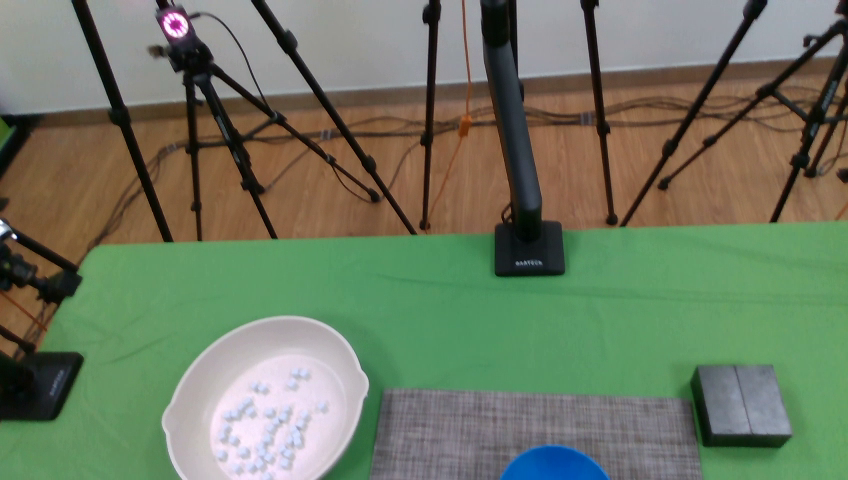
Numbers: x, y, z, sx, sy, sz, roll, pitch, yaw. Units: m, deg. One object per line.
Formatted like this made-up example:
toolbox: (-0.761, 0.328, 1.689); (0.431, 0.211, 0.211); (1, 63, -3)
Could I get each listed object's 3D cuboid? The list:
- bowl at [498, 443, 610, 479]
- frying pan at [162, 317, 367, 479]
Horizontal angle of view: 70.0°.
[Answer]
bowl: (0.165, 0.344, 0.764); (0.151, 0.077, 0.150); (-5, 52, 6)
frying pan: (-0.221, 0.325, 0.833); (0.307, 0.104, 0.482); (-10, 43, 3)
